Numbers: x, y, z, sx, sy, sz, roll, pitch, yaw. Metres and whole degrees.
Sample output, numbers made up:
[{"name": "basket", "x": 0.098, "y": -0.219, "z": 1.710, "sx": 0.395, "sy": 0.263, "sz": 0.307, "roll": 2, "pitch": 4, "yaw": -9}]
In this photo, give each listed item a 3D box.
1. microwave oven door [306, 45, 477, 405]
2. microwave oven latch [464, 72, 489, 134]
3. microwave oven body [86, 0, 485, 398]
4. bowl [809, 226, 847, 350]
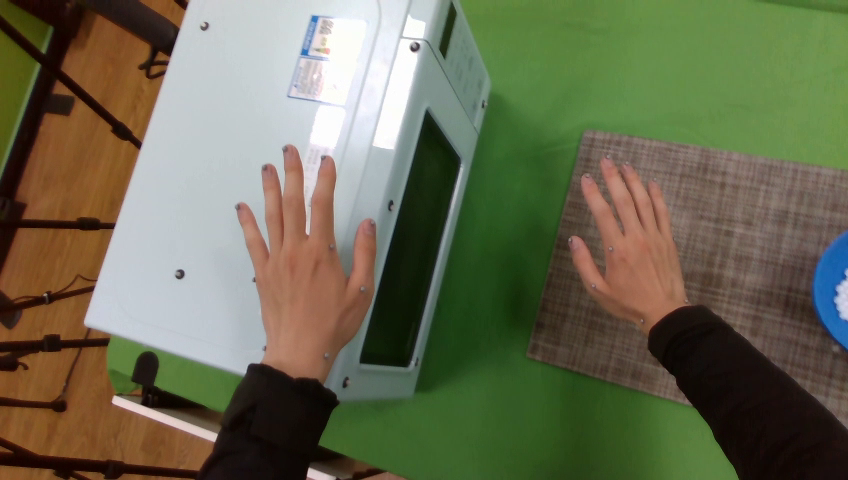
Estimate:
[{"name": "microwave oven door", "x": -0.022, "y": 0.003, "z": 0.678, "sx": 0.039, "sy": 0.245, "sz": 0.354, "roll": 11, "pitch": 81, "yaw": 20}, {"name": "microwave oven latch", "x": 0.065, "y": -0.183, "z": 0.802, "sx": 0.030, "sy": 0.030, "sz": 0.079, "roll": 12, "pitch": 82, "yaw": 19}, {"name": "microwave oven body", "x": -0.145, "y": -0.063, "z": 0.737, "sx": 0.324, "sy": 0.262, "sz": 0.440, "roll": 12, "pitch": 82, "yaw": 19}, {"name": "bowl", "x": 0.468, "y": 0.056, "z": 0.616, "sx": 0.151, "sy": 0.077, "sz": 0.150, "roll": -4, "pitch": 77, "yaw": 17}]
